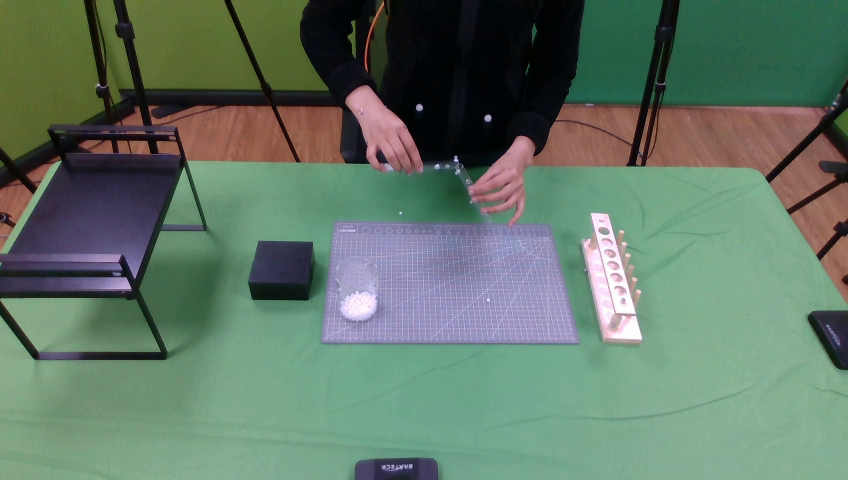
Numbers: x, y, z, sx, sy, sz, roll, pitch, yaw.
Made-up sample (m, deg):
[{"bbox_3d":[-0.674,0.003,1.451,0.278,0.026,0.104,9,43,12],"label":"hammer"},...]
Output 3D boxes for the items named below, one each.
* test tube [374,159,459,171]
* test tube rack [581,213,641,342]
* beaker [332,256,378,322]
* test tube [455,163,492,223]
[{"bbox_3d":[-0.013,-0.132,1.074,0.150,0.017,0.017,-2,46,2],"label":"test tube"},{"bbox_3d":[0.351,0.064,1.120,0.067,0.085,0.241,3,46,-1],"label":"test tube rack"},{"bbox_3d":[-0.114,0.089,1.047,0.083,0.101,0.074,30,51,21],"label":"beaker"},{"bbox_3d":[0.093,-0.084,1.120,0.017,0.151,0.017,-20,40,18],"label":"test tube"}]
